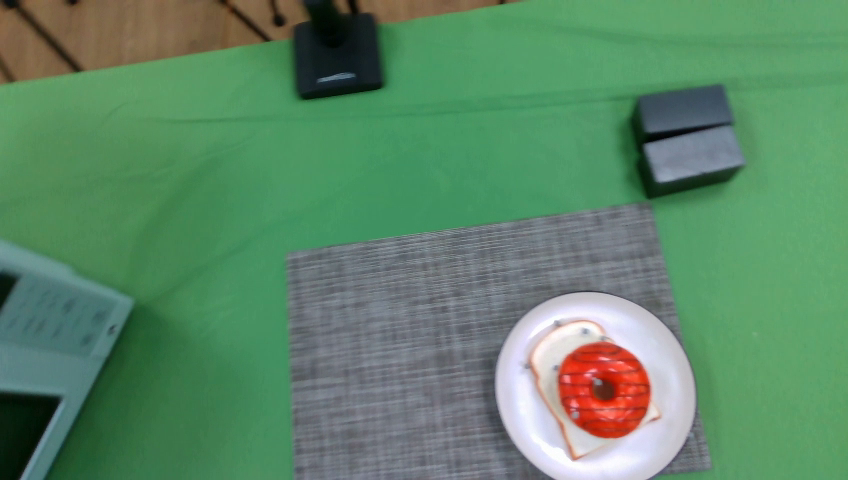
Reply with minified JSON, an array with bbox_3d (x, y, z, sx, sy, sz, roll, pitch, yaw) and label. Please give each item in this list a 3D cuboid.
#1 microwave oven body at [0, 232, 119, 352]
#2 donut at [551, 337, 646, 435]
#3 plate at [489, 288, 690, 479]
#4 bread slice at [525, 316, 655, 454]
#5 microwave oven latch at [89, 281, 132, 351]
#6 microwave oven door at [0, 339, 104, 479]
[{"bbox_3d":[-0.595,0.173,0.621,0.325,0.262,0.440,20,78,11],"label":"microwave oven body"},{"bbox_3d":[0.180,0.150,0.626,0.099,0.048,0.098,-1,74,3],"label":"donut"},{"bbox_3d":[0.174,0.157,0.655,0.207,0.039,0.206,-2,74,6],"label":"plate"},{"bbox_3d":[0.172,0.150,0.659,0.105,0.019,0.130,-28,74,-3],"label":"bread slice"},{"bbox_3d":[-0.381,0.091,0.722,0.030,0.030,0.079,22,78,12],"label":"microwave oven latch"},{"bbox_3d":[-0.477,0.258,0.577,0.039,0.245,0.354,20,77,13],"label":"microwave oven door"}]
